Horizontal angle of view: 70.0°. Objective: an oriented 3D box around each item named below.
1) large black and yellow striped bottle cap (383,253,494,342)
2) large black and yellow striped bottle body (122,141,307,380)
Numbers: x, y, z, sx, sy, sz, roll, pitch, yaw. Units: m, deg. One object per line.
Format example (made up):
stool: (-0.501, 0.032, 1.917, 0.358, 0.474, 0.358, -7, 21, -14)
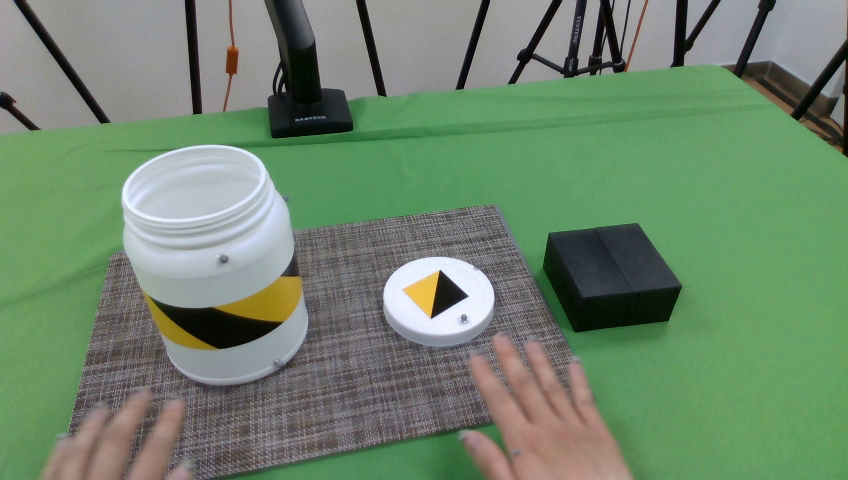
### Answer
large black and yellow striped bottle cap: (0.014, 0.056, 0.623, 0.115, 0.019, 0.114, 0, 40, 1)
large black and yellow striped bottle body: (-0.179, 0.019, 0.532, 0.131, 0.185, 0.129, 0, 41, 0)
